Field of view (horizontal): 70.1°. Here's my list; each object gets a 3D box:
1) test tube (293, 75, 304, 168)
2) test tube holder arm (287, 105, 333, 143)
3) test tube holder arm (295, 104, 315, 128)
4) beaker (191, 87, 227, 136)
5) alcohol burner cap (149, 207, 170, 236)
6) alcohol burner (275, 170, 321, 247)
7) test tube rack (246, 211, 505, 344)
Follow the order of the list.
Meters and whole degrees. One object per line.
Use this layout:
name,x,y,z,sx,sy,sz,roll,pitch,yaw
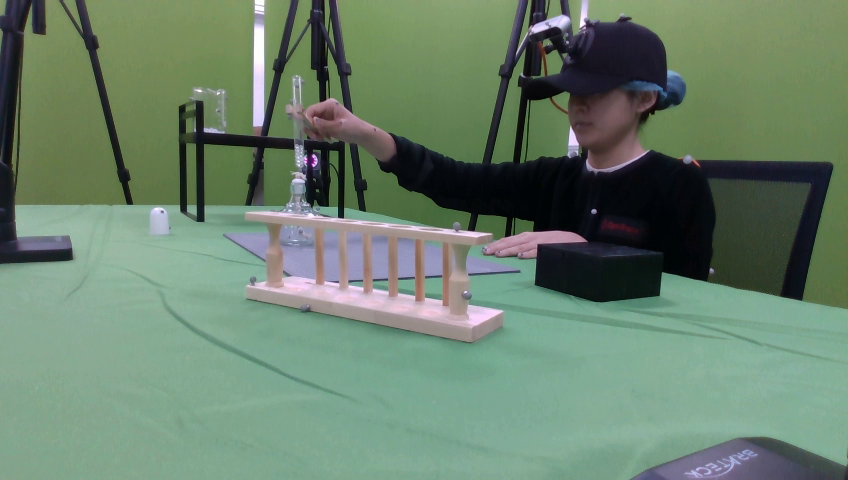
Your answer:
test tube,-0.198,-0.187,0.954,0.017,0.150,0.017,-3,-9,0
test tube holder arm,-0.190,-0.194,1.023,0.013,0.015,0.179,-2,-6,11
test tube holder arm,-0.191,-0.199,0.978,0.010,0.015,0.088,-2,-6,3
beaker,-0.476,-0.284,1.345,0.074,0.100,0.083,-3,10,-37
alcohol burner cap,-0.445,-0.032,1.019,0.034,0.048,0.034,4,8,0
alcohol burner,-0.199,-0.049,0.948,0.078,0.119,0.078,1,8,0
test tube rack,-0.049,0.025,0.547,0.241,0.085,0.067,7,8,29
